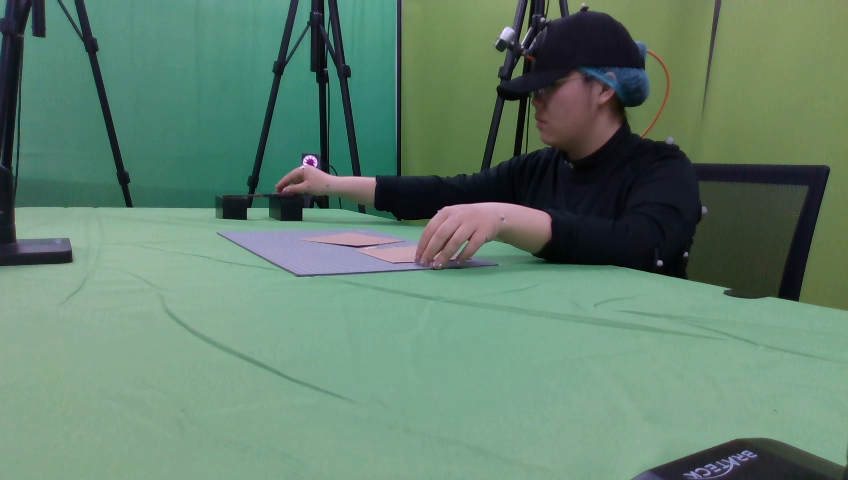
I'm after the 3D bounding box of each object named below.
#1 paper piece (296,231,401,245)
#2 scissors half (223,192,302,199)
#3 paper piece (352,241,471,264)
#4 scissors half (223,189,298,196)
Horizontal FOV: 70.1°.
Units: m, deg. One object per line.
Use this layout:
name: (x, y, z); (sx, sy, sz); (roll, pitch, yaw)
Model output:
paper piece: (-0.127, -0.003, 1.052); (0.135, 0.004, 0.136); (7, 8, 33)
scissors half: (-0.362, -0.100, 1.364); (0.176, 0.013, 0.040); (-2, 14, -24)
paper piece: (-0.020, 0.019, 0.915); (0.137, 0.008, 0.137); (-6, 12, -31)
scissors half: (-0.372, -0.105, 1.379); (0.176, 0.013, 0.040); (-6, 22, -38)
